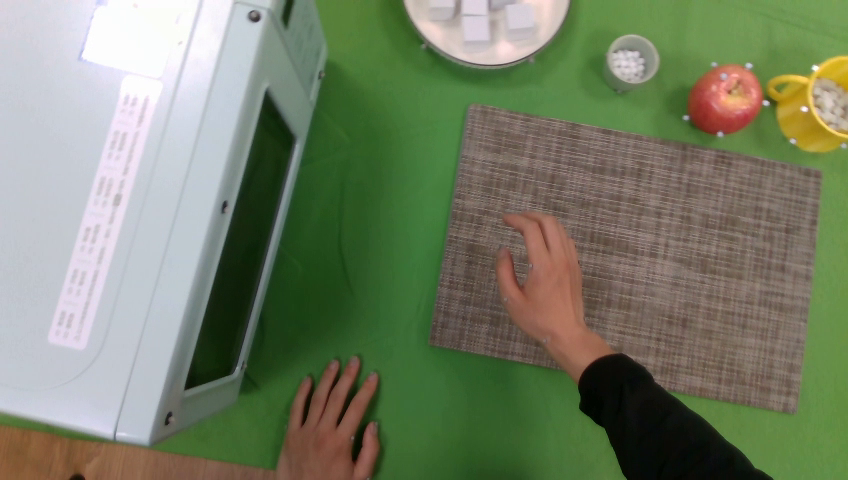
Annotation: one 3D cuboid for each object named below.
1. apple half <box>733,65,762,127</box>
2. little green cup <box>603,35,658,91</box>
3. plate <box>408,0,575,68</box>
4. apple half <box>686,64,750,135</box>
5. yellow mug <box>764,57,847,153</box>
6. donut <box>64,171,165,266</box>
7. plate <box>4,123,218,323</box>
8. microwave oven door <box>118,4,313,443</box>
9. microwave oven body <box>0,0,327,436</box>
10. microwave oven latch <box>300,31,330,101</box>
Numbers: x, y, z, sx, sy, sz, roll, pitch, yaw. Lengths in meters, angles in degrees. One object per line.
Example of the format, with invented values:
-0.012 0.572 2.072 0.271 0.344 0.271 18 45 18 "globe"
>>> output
0.383 -0.174 0.730 0.033 0.081 0.081 -16 84 0 "apple half"
0.251 -0.215 0.746 0.061 0.038 0.061 0 83 -2 "little green cup"
0.081 -0.309 0.747 0.208 0.039 0.207 0 84 -3 "plate"
0.345 -0.163 0.728 0.053 0.074 0.080 -15 88 1 "apple half"
0.482 -0.168 0.738 0.131 0.064 0.099 22 83 0 "yellow mug"
-0.317 -0.022 0.621 0.099 0.048 0.099 0 85 -2 "donut"
-0.320 -0.017 0.634 0.209 0.038 0.208 0 85 -4 "plate"
-0.183 -0.007 0.583 0.039 0.244 0.355 14 83 -1 "microwave oven door"
-0.315 -0.082 0.590 0.326 0.260 0.440 14 84 -2 "microwave oven body"
-0.132 -0.206 0.708 0.030 0.029 0.079 15 84 -1 "microwave oven latch"
